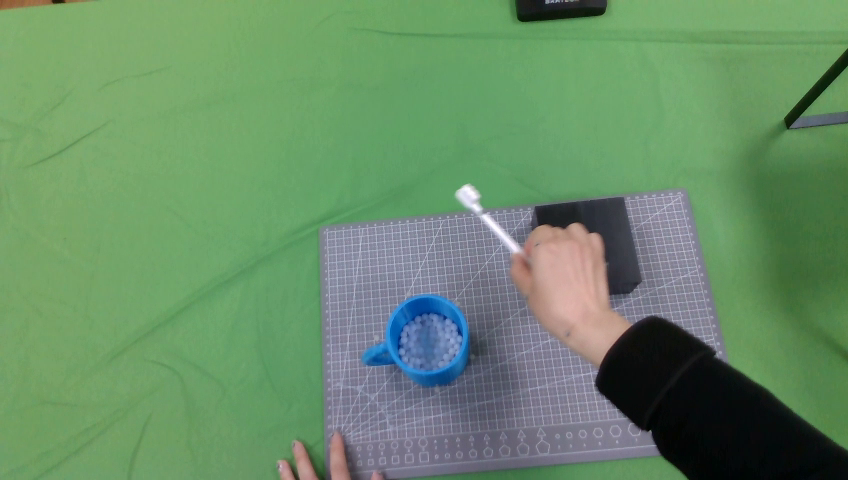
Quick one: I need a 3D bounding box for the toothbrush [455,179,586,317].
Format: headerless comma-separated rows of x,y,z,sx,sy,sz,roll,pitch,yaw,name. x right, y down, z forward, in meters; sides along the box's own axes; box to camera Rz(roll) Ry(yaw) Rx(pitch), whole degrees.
0.096,0.007,0.603,0.181,0.017,0.014,47,46,6,toothbrush

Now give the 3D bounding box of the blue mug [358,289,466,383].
-0.013,0.108,0.642,0.116,0.106,0.082,-14,71,-1,blue mug
